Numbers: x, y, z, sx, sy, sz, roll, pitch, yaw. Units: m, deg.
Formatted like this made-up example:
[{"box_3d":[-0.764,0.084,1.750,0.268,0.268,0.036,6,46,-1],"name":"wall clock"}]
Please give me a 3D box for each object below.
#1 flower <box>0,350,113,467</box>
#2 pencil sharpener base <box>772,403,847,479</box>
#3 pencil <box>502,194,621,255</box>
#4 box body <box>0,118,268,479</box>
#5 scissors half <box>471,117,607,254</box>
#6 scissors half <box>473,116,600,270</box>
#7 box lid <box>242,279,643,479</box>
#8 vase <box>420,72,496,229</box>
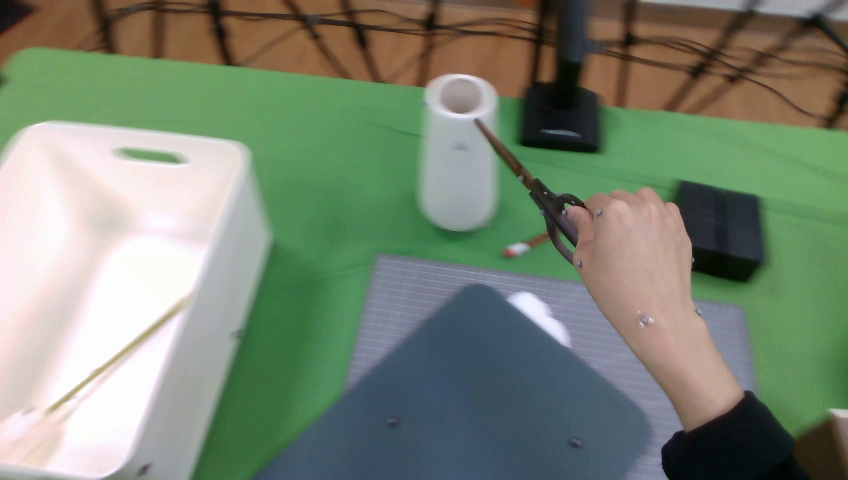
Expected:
[{"box_3d":[-0.339,0.110,0.706,0.038,0.044,0.360,-3,30,27],"name":"flower"},{"box_3d":[0.392,0.210,0.576,0.061,0.108,0.076,4,56,2],"name":"pencil sharpener base"},{"box_3d":[0.183,-0.023,0.790,0.194,0.012,0.012,-25,59,-18],"name":"pencil"},{"box_3d":[-0.335,0.068,0.630,0.254,0.162,0.361,7,56,4],"name":"box body"},{"box_3d":[0.091,-0.053,0.510,0.013,0.040,0.173,-33,58,-11],"name":"scissors half"},{"box_3d":[0.093,-0.044,0.528,0.013,0.040,0.174,-31,75,-16],"name":"scissors half"},{"box_3d":[0.025,0.222,0.621,0.261,0.015,0.371,40,65,22],"name":"box lid"},{"box_3d":[0.042,-0.102,0.726,0.098,0.202,0.097,0,55,1],"name":"vase"}]
